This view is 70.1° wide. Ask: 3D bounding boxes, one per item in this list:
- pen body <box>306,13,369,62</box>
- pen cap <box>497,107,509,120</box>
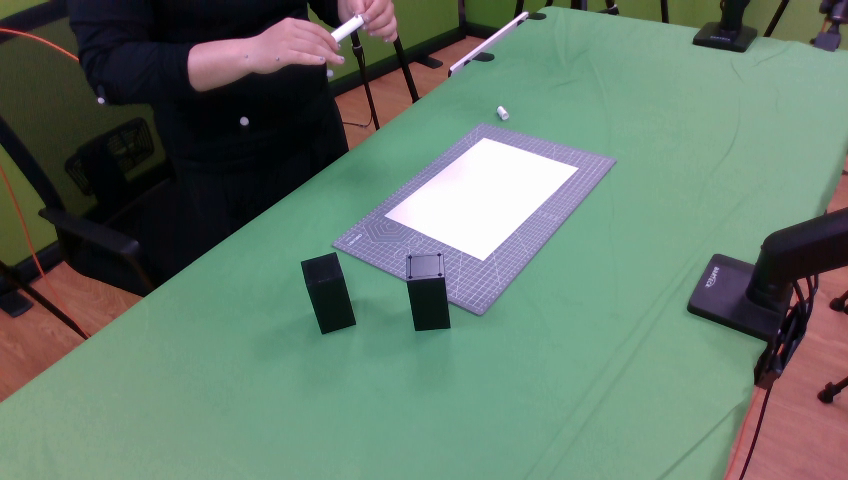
[{"bbox_3d":[-0.133,-0.324,0.959,0.017,0.017,0.144,23,57,31],"label":"pen body"},{"bbox_3d":[0.164,-0.264,1.261,0.017,0.017,0.038,-14,41,-7],"label":"pen cap"}]
